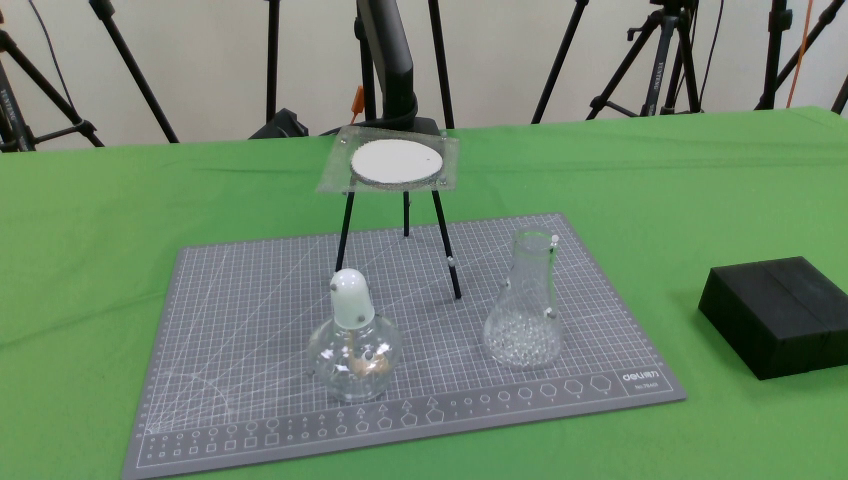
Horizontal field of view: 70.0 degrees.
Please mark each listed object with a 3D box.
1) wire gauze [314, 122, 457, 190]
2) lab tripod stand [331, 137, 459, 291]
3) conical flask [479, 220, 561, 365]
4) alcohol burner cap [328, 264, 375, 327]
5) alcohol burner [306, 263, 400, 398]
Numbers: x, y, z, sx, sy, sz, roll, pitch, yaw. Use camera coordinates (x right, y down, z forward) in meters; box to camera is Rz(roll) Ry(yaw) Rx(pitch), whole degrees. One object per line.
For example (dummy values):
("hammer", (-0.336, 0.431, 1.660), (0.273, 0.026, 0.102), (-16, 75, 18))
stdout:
("wire gauze", (-0.030, -0.079, 0.566), (0.121, 0.011, 0.124), (4, 36, 2))
("lab tripod stand", (-0.024, -0.024, 0.605), (0.148, 0.132, 0.147), (2, 35, -1))
("conical flask", (0.088, 0.043, 0.523), (0.075, 0.123, 0.074), (1, 36, 0))
("alcohol burner cap", (-0.057, 0.041, 0.467), (0.034, 0.048, 0.033), (-4, 39, 4))
("alcohol burner", (-0.058, 0.069, 0.489), (0.078, 0.120, 0.077), (0, 34, 0))
